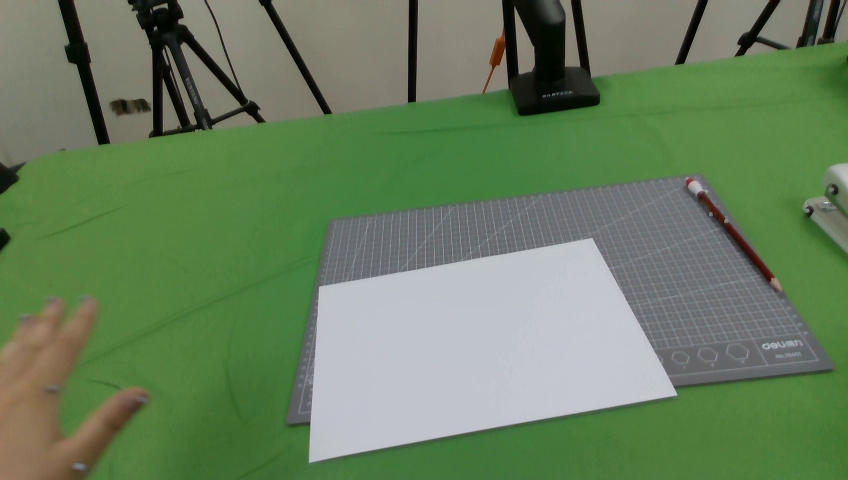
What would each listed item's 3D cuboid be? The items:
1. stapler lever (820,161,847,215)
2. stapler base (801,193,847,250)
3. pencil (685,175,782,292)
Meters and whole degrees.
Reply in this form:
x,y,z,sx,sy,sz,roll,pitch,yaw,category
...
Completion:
x,y,z,sx,sy,sz,roll,pitch,yaw,category
0.421,-0.032,0.574,0.027,0.040,0.117,-12,40,2,stapler lever
0.424,-0.013,0.592,0.041,0.025,0.129,-12,39,2,stapler base
0.313,-0.012,0.621,0.012,0.012,0.192,-10,39,0,pencil
